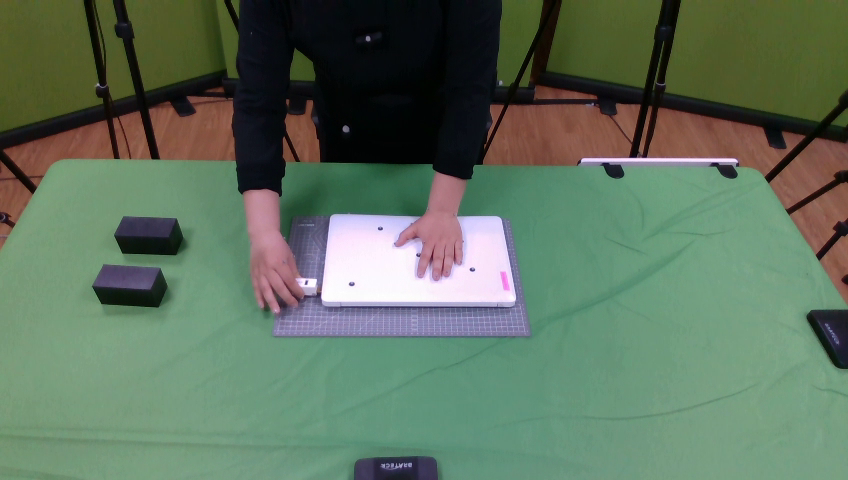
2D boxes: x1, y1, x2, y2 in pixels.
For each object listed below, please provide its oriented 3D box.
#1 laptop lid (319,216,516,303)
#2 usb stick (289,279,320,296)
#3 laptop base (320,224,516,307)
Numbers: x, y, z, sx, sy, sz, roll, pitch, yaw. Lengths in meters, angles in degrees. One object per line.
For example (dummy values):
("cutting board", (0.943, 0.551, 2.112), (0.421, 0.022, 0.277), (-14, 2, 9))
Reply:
("laptop lid", (-0.013, 0.031, 1.155), (0.357, 0.013, 0.240), (2, 43, -3))
("usb stick", (-0.209, 0.085, 1.085), (0.059, 0.027, 0.021), (5, 47, 1))
("laptop base", (-0.013, 0.040, 1.160), (0.355, 0.023, 0.234), (1, 41, -4))
